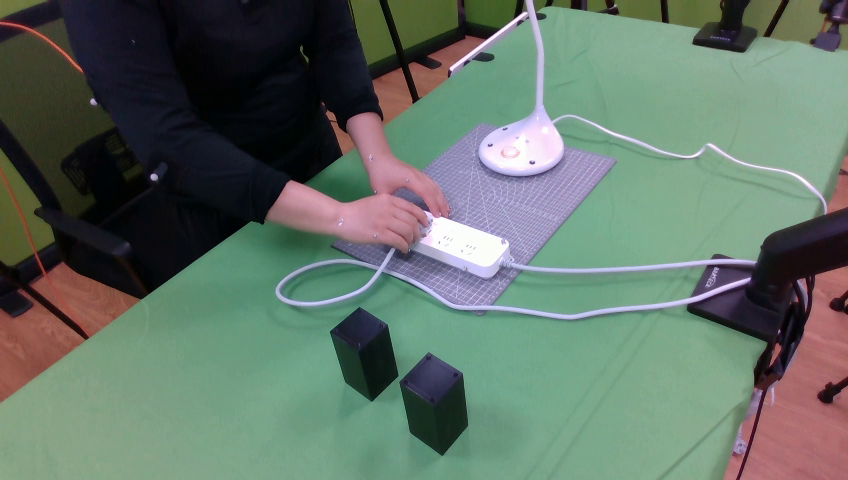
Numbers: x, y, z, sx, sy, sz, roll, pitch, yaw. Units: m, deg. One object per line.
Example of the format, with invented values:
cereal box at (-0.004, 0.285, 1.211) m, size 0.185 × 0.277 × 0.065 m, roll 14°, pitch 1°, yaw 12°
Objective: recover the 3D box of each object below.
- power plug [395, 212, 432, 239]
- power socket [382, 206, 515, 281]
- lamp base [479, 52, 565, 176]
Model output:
power plug at (-0.020, -0.015, 0.931) m, size 0.073 × 0.053 × 0.035 m, roll -38°, pitch 45°, yaw -20°
power socket at (0.031, 0.002, 0.950) m, size 0.225 × 0.033 × 0.072 m, roll 21°, pitch 49°, yaw 29°
lamp base at (0.181, -0.235, 1.093) m, size 0.159 × 0.181 × 0.179 m, roll 18°, pitch 44°, yaw 27°
